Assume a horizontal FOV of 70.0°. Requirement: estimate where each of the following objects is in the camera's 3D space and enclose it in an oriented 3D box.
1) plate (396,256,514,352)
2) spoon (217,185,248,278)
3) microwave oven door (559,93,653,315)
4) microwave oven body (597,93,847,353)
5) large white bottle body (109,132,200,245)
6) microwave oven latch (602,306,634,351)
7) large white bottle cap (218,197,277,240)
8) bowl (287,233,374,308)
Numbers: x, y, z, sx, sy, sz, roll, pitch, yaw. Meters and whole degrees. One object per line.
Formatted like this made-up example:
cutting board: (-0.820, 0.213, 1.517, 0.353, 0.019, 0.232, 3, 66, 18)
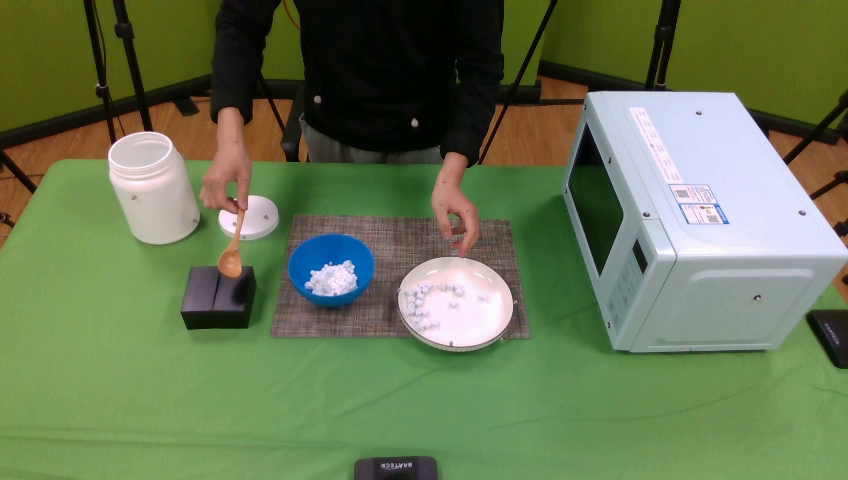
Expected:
plate: (0.053, 0.116, 1.077, 0.209, 0.038, 0.208, 2, 46, -2)
spoon: (-0.326, -0.018, 1.058, 0.042, 0.021, 0.192, 24, 54, -31)
microwave oven door: (0.327, -0.074, 1.123, 0.039, 0.245, 0.353, -1, 46, -5)
microwave oven body: (0.475, -0.041, 1.109, 0.326, 0.261, 0.438, -1, 45, -4)
large white bottle body: (-0.506, -0.097, 1.141, 0.131, 0.185, 0.130, 2, 46, -2)
microwave oven latch: (0.332, 0.153, 1.044, 0.030, 0.029, 0.078, 0, 45, -4)
large white bottle cap: (-0.354, -0.045, 1.220, 0.115, 0.018, 0.114, 2, 45, -2)
bowl: (-0.164, 0.068, 1.078, 0.151, 0.077, 0.150, 3, 46, -3)
